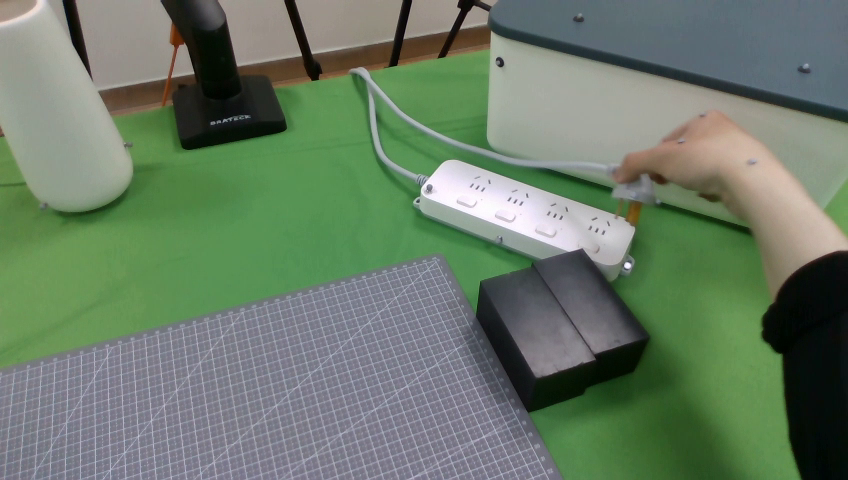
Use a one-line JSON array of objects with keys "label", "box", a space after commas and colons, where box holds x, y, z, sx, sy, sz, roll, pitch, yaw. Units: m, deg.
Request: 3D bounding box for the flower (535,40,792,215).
[{"label": "flower", "box": [0.273, -0.139, 0.723, 0.044, 0.038, 0.358, -43, 64, -7]}]

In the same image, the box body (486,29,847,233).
[{"label": "box body", "box": [0.271, -0.179, 0.663, 0.362, 0.162, 0.253, 19, 49, 17]}]

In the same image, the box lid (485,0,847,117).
[{"label": "box lid", "box": [0.273, -0.230, 0.610, 0.370, 0.015, 0.262, 20, 49, 17]}]

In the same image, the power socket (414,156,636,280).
[{"label": "power socket", "box": [0.099, -0.026, 0.602, 0.225, 0.033, 0.072, 22, 49, 19]}]

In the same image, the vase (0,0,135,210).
[{"label": "vase", "box": [-0.349, -0.124, 0.571, 0.098, 0.202, 0.097, 1, 45, -1]}]

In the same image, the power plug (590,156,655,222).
[{"label": "power plug", "box": [0.174, -0.046, 0.536, 0.035, 0.053, 0.072, 11, 7, -16]}]
